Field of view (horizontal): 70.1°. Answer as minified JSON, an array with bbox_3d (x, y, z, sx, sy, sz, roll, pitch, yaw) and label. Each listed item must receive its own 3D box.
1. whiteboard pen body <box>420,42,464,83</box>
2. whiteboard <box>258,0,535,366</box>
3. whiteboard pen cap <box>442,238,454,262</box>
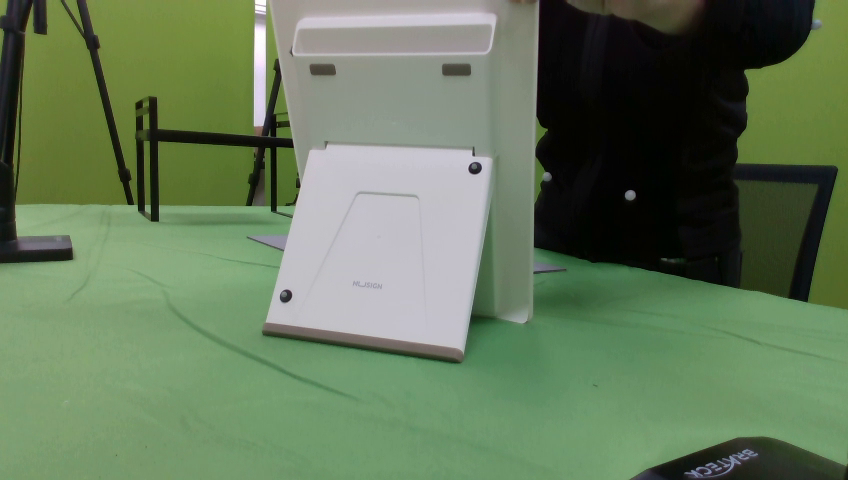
[{"bbox_3d":[0.016,-0.157,0.538,0.017,0.017,0.141,4,28,14],"label":"whiteboard pen body"},{"bbox_3d":[-0.037,-0.040,0.456,0.216,0.305,0.144,5,27,19],"label":"whiteboard"},{"bbox_3d":[0.033,0.014,0.851,0.018,0.033,0.018,3,4,0],"label":"whiteboard pen cap"}]
